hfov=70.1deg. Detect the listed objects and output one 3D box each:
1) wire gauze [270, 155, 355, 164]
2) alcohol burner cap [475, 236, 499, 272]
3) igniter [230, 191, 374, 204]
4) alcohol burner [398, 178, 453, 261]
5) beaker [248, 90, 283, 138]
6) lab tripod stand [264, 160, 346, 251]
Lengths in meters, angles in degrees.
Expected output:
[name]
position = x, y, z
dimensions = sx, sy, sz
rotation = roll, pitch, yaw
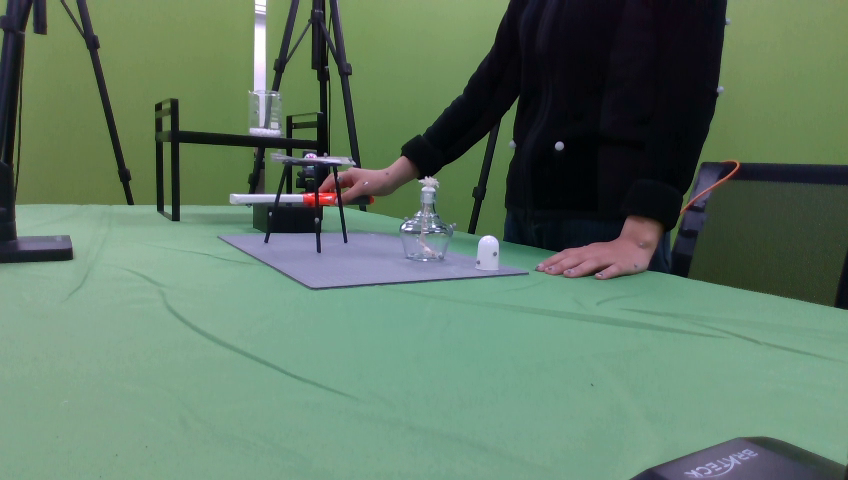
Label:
[wire gauze]
position = -0.174, -0.123, 0.925
dimensions = 0.125, 0.011, 0.121
rotation = 0, 8, -12
[alcohol burner cap]
position = 0.084, 0.018, 0.799
dimensions = 0.034, 0.048, 0.034
rotation = 2, 6, 0
[igniter]
position = -0.228, -0.080, 1.165
dimensions = 0.278, 0.025, 0.057
rotation = -3, 11, -30
[alcohol burner]
position = 0.003, -0.029, 0.860
dimensions = 0.078, 0.119, 0.078
rotation = 4, 7, 0
[beaker]
position = -0.354, -0.278, 1.340
dimensions = 0.074, 0.100, 0.084
rotation = 6, 9, 26
[lab tripod stand]
position = -0.177, -0.056, 0.930
dimensions = 0.148, 0.131, 0.148
rotation = 1, 8, 0
